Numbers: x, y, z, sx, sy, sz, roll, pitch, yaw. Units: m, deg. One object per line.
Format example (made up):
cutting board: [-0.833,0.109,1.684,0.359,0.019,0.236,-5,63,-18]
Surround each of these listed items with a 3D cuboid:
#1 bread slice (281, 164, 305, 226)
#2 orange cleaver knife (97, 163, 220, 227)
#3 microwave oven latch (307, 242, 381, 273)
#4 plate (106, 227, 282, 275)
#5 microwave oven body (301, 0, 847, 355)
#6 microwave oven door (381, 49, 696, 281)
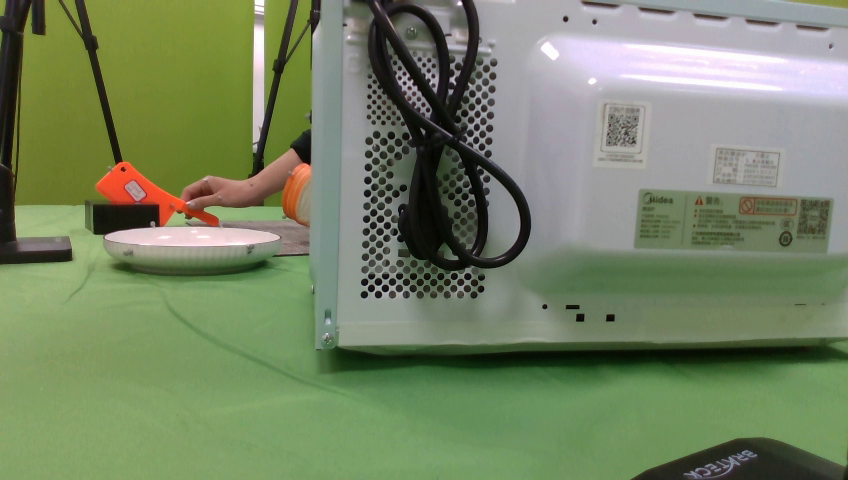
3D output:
bread slice: [-0.172,-0.068,1.006,0.135,0.107,0.018,22,-2,-42]
orange cleaver knife: [-0.471,-0.062,1.086,0.212,0.077,0.012,33,-14,-36]
microwave oven latch: [-0.086,0.019,0.656,0.079,0.029,0.030,2,7,-10]
plate: [-0.288,0.013,0.772,0.208,0.039,0.207,2,7,0]
microwave oven body: [0.120,-0.053,0.535,0.443,0.260,0.325,2,7,-11]
microwave oven door: [0.135,-0.077,0.685,0.357,0.243,0.039,1,8,-12]
